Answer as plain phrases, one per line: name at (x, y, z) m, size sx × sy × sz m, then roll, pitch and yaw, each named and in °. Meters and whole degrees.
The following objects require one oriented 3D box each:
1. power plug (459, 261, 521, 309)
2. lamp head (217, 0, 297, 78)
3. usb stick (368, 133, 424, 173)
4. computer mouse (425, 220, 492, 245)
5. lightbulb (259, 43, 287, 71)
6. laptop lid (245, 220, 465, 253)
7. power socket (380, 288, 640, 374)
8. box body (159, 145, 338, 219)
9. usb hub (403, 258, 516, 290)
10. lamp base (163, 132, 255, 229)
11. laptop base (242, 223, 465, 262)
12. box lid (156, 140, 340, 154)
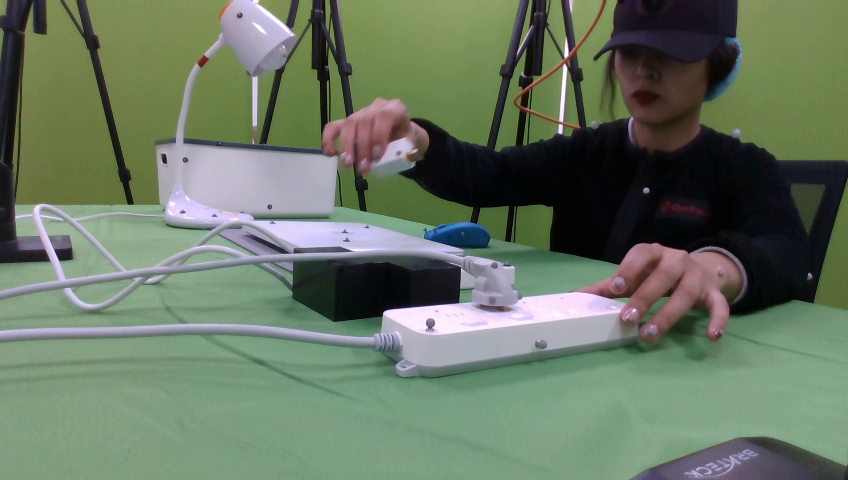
power plug at (0.042, 0.043, 0.444) m, size 0.035 × 0.052 × 0.073 m, roll -3°, pitch 8°, yaw 45°
lamp head at (-0.315, -0.372, 1.102) m, size 0.123 × 0.112 × 0.112 m, roll 41°, pitch 3°, yaw -9°
usb stick at (-0.026, -0.088, 0.602) m, size 0.059 × 0.027 × 0.021 m, roll -10°, pitch -35°, yaw 31°
computer mouse at (0.060, -0.013, 1.059) m, size 0.117 × 0.041 × 0.062 m, roll -3°, pitch 10°, yaw -5°
lightbulb at (-0.295, -0.357, 1.101) m, size 0.059 × 0.107 × 0.059 m, roll -38°, pitch 2°, yaw 2°
laptop lid at (-0.124, -0.009, 0.945) m, size 0.243 × 0.013 × 0.355 m, roll 1°, pitch 7°, yaw -29°
power socket at (0.071, 0.064, 0.461) m, size 0.228 × 0.032 × 0.072 m, roll -3°, pitch 8°, yaw -31°
box body at (-0.410, -0.139, 1.414) m, size 0.366 × 0.160 × 0.253 m, roll -3°, pitch 9°, yaw -33°
usb hub at (0.042, 0.038, 0.690) m, size 0.126 × 0.025 × 0.049 m, roll -2°, pitch 10°, yaw -30°
lamp base at (-0.420, -0.116, 1.156) m, size 0.179 × 0.180 × 0.160 m, roll 0°, pitch 8°, yaw 0°
laptop base at (-0.126, 0.003, 0.945) m, size 0.237 × 0.023 × 0.352 m, roll 2°, pitch 6°, yaw -31°
box lid at (-0.409, -0.213, 1.404) m, size 0.373 × 0.015 × 0.262 m, roll -2°, pitch 8°, yaw -32°
